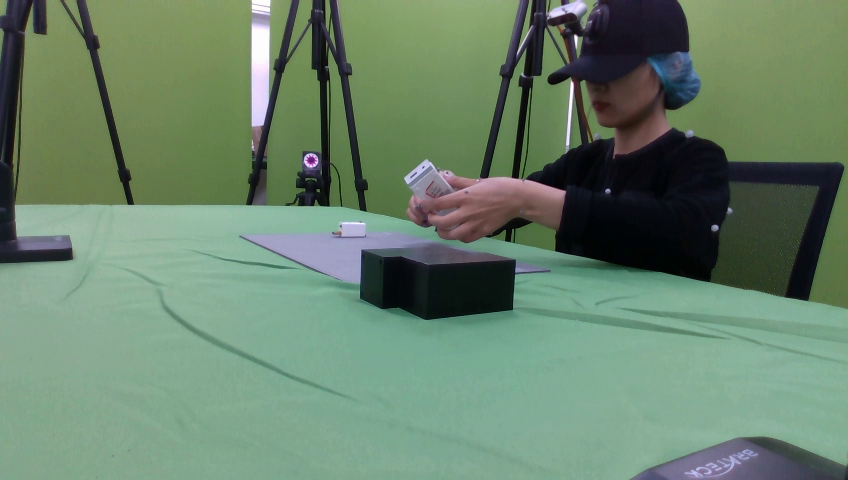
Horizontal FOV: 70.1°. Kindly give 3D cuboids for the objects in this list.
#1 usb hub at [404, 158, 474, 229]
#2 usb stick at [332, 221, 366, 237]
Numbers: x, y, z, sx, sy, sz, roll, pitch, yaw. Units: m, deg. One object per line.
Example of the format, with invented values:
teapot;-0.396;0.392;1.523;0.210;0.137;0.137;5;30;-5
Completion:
usb hub;0.025;-0.072;0.950;0.126;0.049;0.025;44;11;-39
usb stick;-0.134;-0.020;1.070;0.059;0.027;0.021;-4;11;-26
